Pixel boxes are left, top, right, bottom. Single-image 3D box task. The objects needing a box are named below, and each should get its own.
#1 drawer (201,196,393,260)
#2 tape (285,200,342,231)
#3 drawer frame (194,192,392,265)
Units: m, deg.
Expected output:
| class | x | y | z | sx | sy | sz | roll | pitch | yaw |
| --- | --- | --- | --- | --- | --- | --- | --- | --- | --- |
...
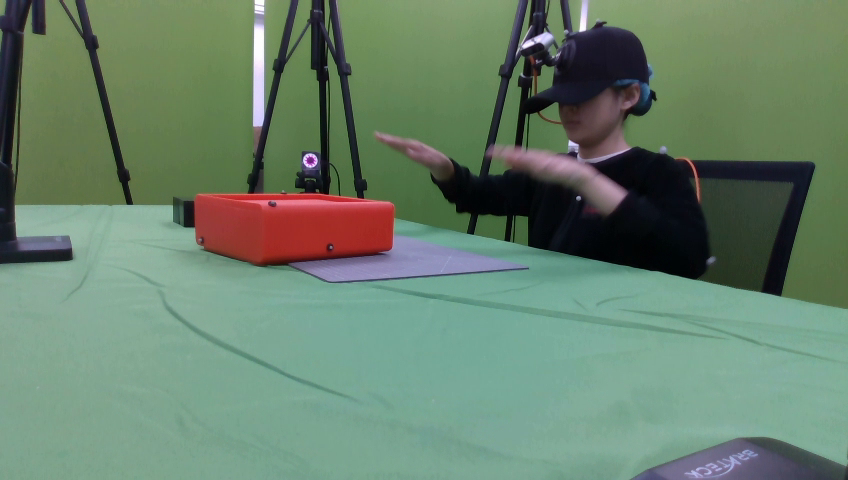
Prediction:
| class | x | y | z | sx | sy | sz | roll | pitch | yaw |
| --- | --- | --- | --- | --- | --- | --- | --- | --- | --- |
| drawer | -0.186 | -0.023 | 0.886 | 0.213 | 0.073 | 0.193 | -5 | 12 | -43 |
| tape | -0.223 | -0.051 | 1.221 | 0.117 | 0.052 | 0.117 | 3 | 7 | 0 |
| drawer frame | -0.190 | -0.024 | 0.882 | 0.215 | 0.082 | 0.200 | -5 | 11 | -44 |
